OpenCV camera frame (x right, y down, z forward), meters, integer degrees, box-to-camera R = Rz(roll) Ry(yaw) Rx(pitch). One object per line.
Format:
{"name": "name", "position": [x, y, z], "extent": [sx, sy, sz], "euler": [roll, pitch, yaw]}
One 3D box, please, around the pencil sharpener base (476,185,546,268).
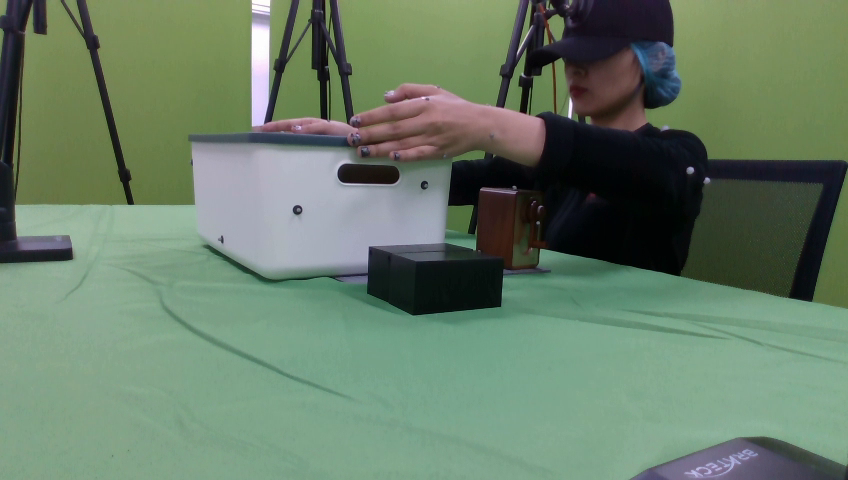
{"name": "pencil sharpener base", "position": [0.119, -0.019, 0.825], "extent": [0.062, 0.107, 0.076], "euler": [-3, 10, -40]}

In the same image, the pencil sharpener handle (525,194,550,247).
{"name": "pencil sharpener handle", "position": [0.152, -0.025, 0.785], "extent": [0.036, 0.067, 0.030], "euler": [1, 7, -41]}

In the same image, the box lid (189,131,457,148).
{"name": "box lid", "position": [-0.153, -0.133, 0.826], "extent": [0.265, 0.015, 0.369], "euler": [-4, 10, -32]}

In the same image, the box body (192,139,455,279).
{"name": "box body", "position": [-0.157, -0.058, 0.838], "extent": [0.255, 0.160, 0.362], "euler": [-2, 8, -32]}
